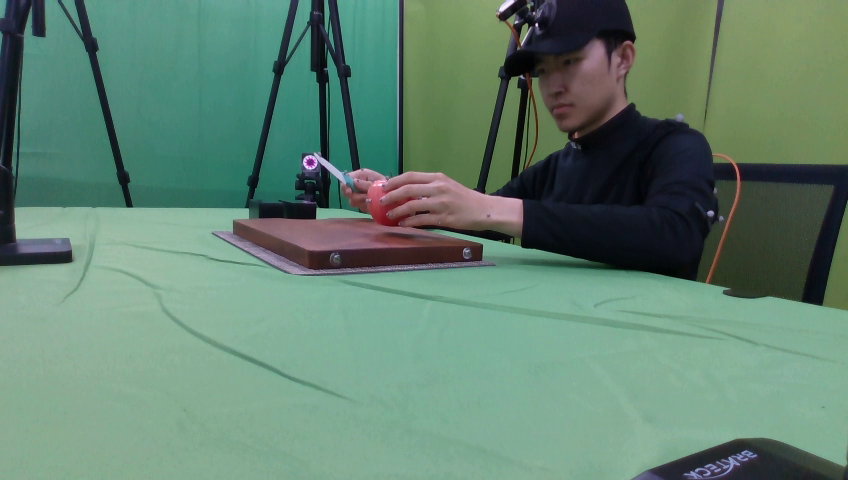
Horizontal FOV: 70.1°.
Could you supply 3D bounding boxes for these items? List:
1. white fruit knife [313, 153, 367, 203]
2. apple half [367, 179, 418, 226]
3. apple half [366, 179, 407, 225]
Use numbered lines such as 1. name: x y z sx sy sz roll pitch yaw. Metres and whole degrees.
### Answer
1. white fruit knife: -0.147 -0.114 1.113 0.016 0.027 0.208 -23 -25 14
2. apple half: -0.042 -0.057 0.938 0.081 0.074 0.053 1 9 -40
3. apple half: -0.066 -0.062 0.967 0.082 0.081 0.032 -4 12 -41
